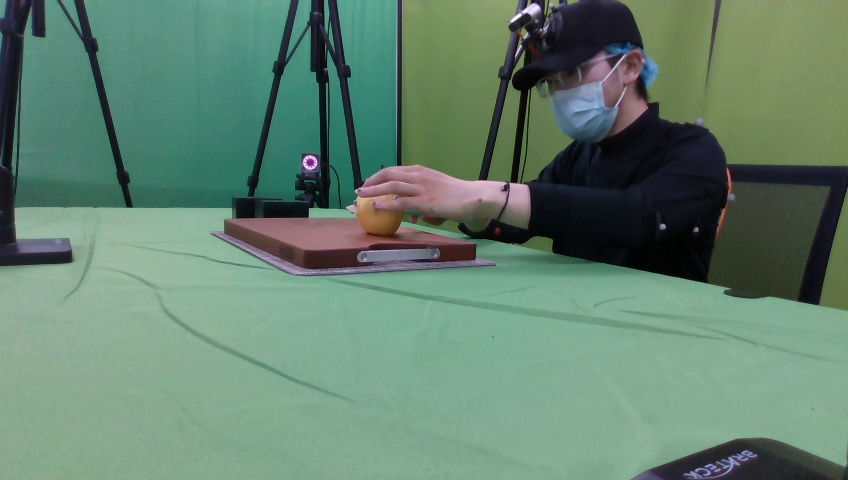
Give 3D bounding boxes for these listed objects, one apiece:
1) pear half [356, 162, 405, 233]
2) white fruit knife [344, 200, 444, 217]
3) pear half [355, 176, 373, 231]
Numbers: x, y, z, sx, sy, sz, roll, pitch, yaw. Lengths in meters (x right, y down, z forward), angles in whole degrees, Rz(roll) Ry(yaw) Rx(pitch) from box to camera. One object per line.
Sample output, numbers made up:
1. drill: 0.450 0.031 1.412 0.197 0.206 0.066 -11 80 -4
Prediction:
1. pear half: -0.060 -0.064 0.930 0.055 0.110 0.077 14 17 41
2. white fruit knife: -0.043 -0.052 0.981 0.208 0.027 0.016 -2 10 -43
3. pear half: -0.086 -0.058 0.959 0.031 0.088 0.071 4 13 43
